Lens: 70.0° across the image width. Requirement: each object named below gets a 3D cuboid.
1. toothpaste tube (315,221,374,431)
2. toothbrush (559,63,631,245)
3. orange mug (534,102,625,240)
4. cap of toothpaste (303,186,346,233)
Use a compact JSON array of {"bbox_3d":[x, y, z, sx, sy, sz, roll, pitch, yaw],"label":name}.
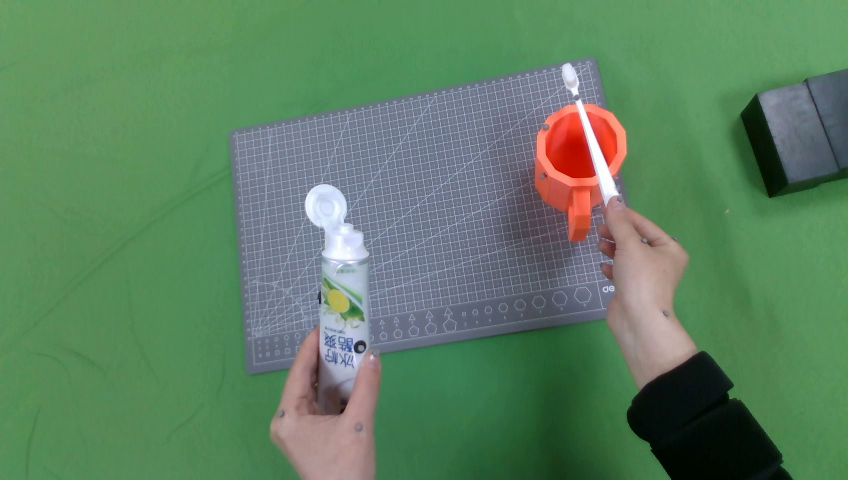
[{"bbox_3d":[-0.063,0.067,0.462,0.055,0.034,0.165,9,106,28],"label":"toothpaste tube"},{"bbox_3d":[0.155,-0.081,0.550,0.014,0.017,0.181,-18,76,12],"label":"toothbrush"},{"bbox_3d":[0.158,-0.067,0.628,0.083,0.101,0.125,-2,73,9],"label":"orange mug"},{"bbox_3d":[-0.073,-0.023,0.456,0.037,0.011,0.037,6,81,-36],"label":"cap of toothpaste"}]
